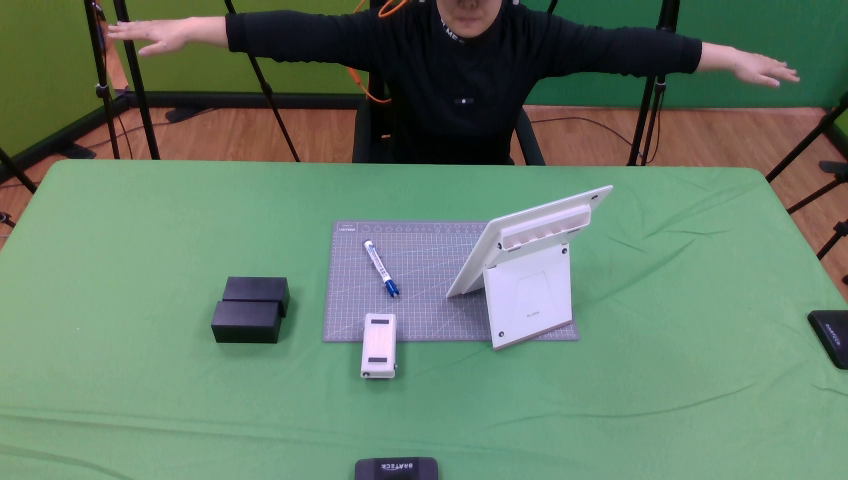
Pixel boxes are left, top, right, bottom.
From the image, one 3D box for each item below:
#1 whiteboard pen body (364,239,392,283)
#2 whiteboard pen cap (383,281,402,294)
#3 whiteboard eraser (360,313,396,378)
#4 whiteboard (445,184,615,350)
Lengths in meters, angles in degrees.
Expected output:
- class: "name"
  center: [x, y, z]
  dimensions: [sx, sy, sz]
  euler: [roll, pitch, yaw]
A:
- class: "whiteboard pen body"
  center: [-0.084, 0.048, 1.143]
  dimensions: [0.017, 0.017, 0.140]
  euler: [-16, 49, -19]
- class: "whiteboard pen cap"
  center: [-0.057, 0.088, 1.104]
  dimensions: [0.033, 0.018, 0.018]
  euler: [18, 48, 11]
- class: "whiteboard eraser"
  center: [-0.075, 0.176, 1.006]
  dimensions: [0.055, 0.042, 0.112]
  euler: [3, 50, -4]
- class: "whiteboard"
  center: [0.186, 0.065, 0.989]
  dimensions: [0.217, 0.306, 0.143]
  euler: [-15, 68, -18]
